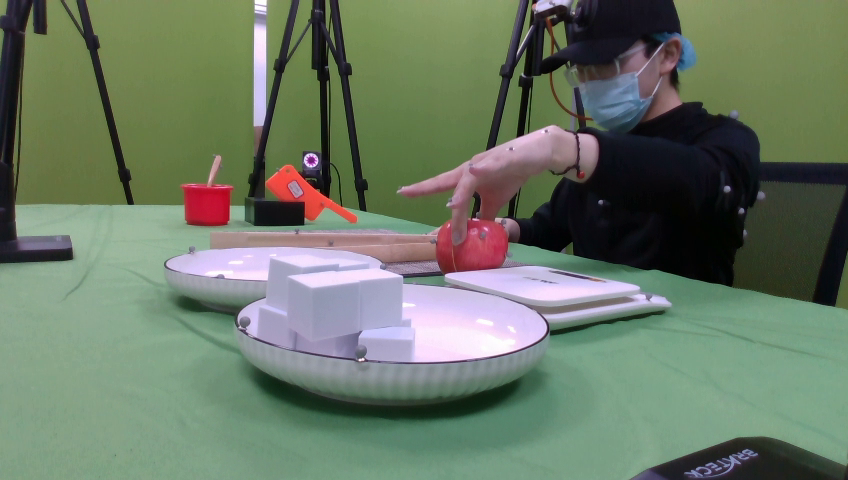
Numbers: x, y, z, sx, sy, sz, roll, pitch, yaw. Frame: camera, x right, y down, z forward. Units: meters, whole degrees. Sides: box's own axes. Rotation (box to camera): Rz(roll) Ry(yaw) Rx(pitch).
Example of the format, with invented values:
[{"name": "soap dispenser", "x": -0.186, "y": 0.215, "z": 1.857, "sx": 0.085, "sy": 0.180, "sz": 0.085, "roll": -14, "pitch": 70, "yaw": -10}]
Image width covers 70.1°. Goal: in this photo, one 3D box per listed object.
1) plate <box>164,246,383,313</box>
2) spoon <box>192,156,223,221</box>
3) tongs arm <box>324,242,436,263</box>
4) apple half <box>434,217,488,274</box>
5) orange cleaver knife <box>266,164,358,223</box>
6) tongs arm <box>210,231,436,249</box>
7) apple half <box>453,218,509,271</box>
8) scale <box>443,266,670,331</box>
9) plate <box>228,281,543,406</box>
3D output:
[{"name": "plate", "x": -0.145, "y": 0.038, "z": 0.600, "sx": 0.209, "sy": 0.038, "sz": 0.209, "roll": 2, "pitch": 7, "yaw": 0}, {"name": "spoon", "x": -0.430, "y": -0.108, "z": 1.222, "sx": 0.041, "sy": 0.021, "sz": 0.193, "roll": -1, "pitch": 52, "yaw": 0}, {"name": "tongs arm", "x": -0.070, "y": 0.017, "z": 0.800, "sx": 0.390, "sy": 0.028, "sz": 0.028, "roll": -2, "pitch": 5, "yaw": -34}, {"name": "apple half", "x": 0.043, "y": 0.010, "z": 0.689, "sx": 0.081, "sy": 0.074, "sz": 0.053, "roll": -6, "pitch": 8, "yaw": -39}, {"name": "orange cleaver knife", "x": -0.238, "y": -0.082, "z": 1.295, "sx": 0.212, "sy": 0.077, "sz": 0.012, "roll": 35, "pitch": -9, "yaw": -26}, {"name": "tongs arm", "x": -0.106, "y": 0.005, "z": 0.876, "sx": 0.386, "sy": 0.026, "sz": 0.050, "roll": 0, "pitch": 7, "yaw": -20}, {"name": "apple half", "x": 0.069, "y": 0.014, "z": 0.660, "sx": 0.082, "sy": 0.081, "sz": 0.032, "roll": -4, "pitch": 7, "yaw": -39}, {"name": "scale", "x": 0.131, "y": 0.052, "z": 0.602, "sx": 0.202, "sy": 0.031, "sz": 0.148, "roll": -3, "pitch": 9, "yaw": -37}, {"name": "plate", "x": -0.025, "y": 0.067, "z": 0.413, "sx": 0.208, "sy": 0.039, "sz": 0.207, "roll": 3, "pitch": 7, "yaw": 0}]
